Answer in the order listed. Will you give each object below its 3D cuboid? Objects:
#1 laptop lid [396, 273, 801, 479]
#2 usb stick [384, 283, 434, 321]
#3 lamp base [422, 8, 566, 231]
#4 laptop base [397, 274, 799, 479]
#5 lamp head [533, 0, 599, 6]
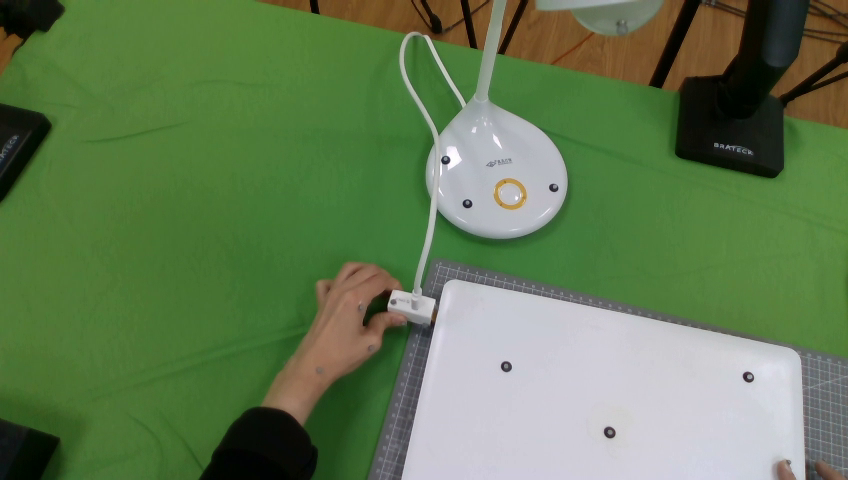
[{"bbox_3d":[0.165,0.169,0.552,0.356,0.013,0.240,13,67,4],"label":"laptop lid"},{"bbox_3d":[-0.009,0.063,0.596,0.059,0.027,0.021,16,59,2],"label":"usb stick"},{"bbox_3d":[0.074,-0.125,0.614,0.161,0.181,0.177,-22,64,-12],"label":"lamp base"},{"bbox_3d":[0.166,0.173,0.563,0.354,0.023,0.234,11,68,3],"label":"laptop base"},{"bbox_3d":[0.110,-0.202,0.342,0.112,0.111,0.123,-15,109,-8],"label":"lamp head"}]
